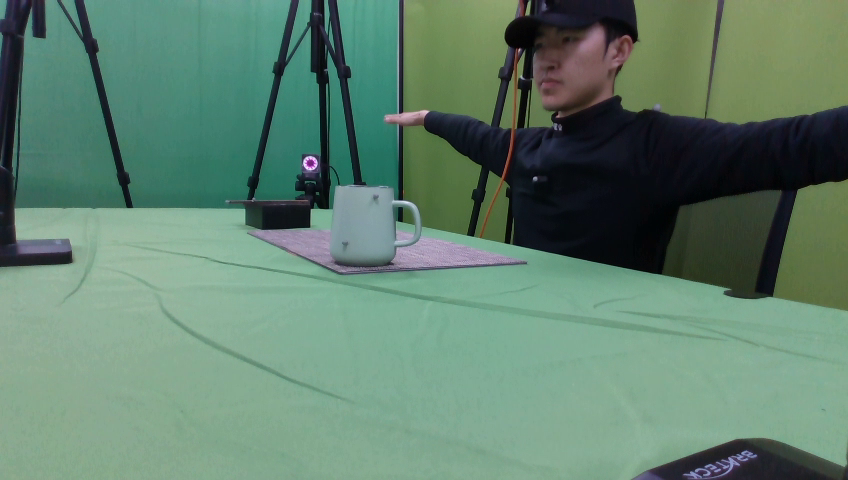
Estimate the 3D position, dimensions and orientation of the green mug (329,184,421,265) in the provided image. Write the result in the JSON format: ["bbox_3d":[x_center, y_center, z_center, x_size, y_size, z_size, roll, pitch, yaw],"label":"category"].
[{"bbox_3d":[-0.066,-0.022,0.817,0.125,0.105,0.092,3,7,8],"label":"green mug"}]

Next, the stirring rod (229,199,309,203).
[{"bbox_3d":[-0.316,-0.080,1.246,0.177,0.006,0.014,-4,6,-42],"label":"stirring rod"}]
